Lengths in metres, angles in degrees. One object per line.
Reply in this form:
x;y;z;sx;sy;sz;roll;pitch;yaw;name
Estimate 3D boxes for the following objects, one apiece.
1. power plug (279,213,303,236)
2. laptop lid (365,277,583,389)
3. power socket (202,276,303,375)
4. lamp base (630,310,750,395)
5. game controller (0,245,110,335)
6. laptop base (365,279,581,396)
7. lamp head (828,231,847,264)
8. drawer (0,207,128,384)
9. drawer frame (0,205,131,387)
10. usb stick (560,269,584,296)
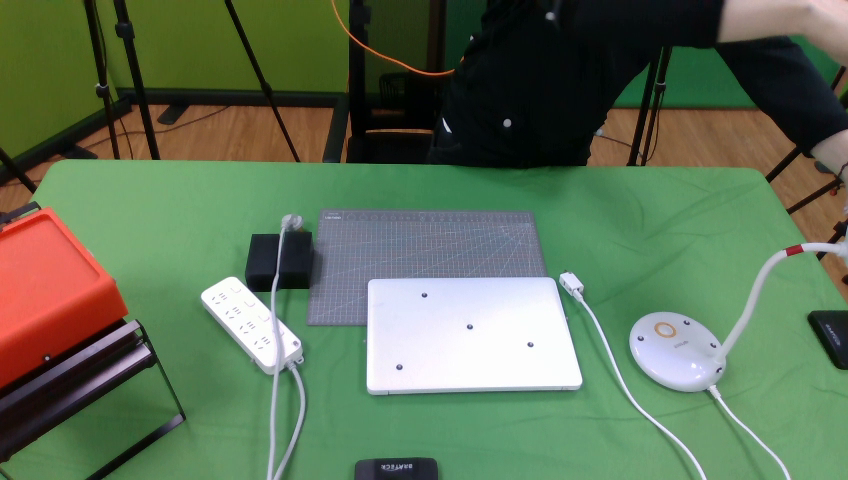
-0.263;-0.021;1.184;0.035;0.053;0.072;0;47;32;power plug
0.078;0.152;1.046;0.357;0.013;0.240;1;45;-3;laptop lid
-0.296;0.142;1.033;0.072;0.033;0.225;-34;58;-30;power socket
0.447;0.143;0.984;0.161;0.181;0.178;-24;55;-24;lamp base
-0.510;0.062;0.830;0.097;0.052;0.154;-30;58;-30;game controller
0.077;0.162;1.053;0.355;0.023;0.234;0;44;-4;laptop base
0.577;-0.001;0.752;0.112;0.123;0.111;1;47;-1;lamp head
-0.540;0.074;0.799;0.193;0.073;0.211;37;55;27;drawer
-0.539;0.076;0.795;0.200;0.083;0.213;36;55;26;drawer frame
0.275;0.077;1.142;0.027;0.021;0.059;-12;39;-13;usb stick
